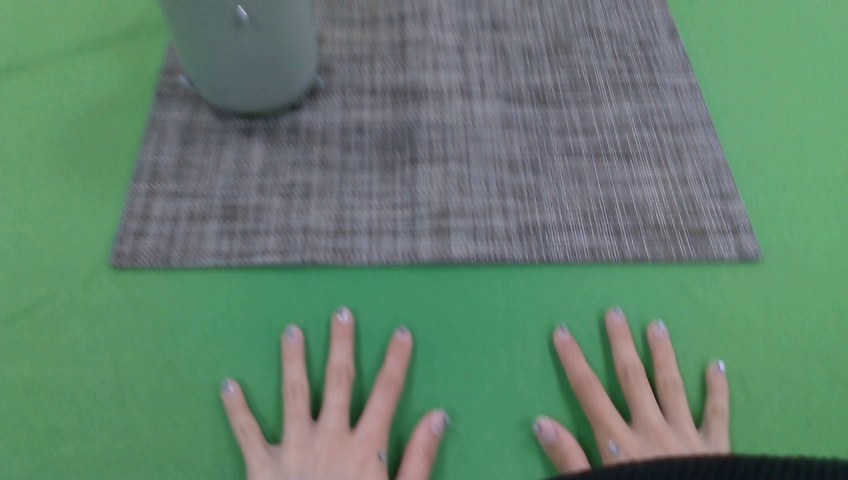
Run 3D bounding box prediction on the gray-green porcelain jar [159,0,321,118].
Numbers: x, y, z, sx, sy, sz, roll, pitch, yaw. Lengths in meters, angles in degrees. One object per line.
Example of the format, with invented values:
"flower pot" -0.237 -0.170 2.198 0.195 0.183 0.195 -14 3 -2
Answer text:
"gray-green porcelain jar" -0.134 -0.164 0.451 0.106 0.127 0.105 1 57 -1
